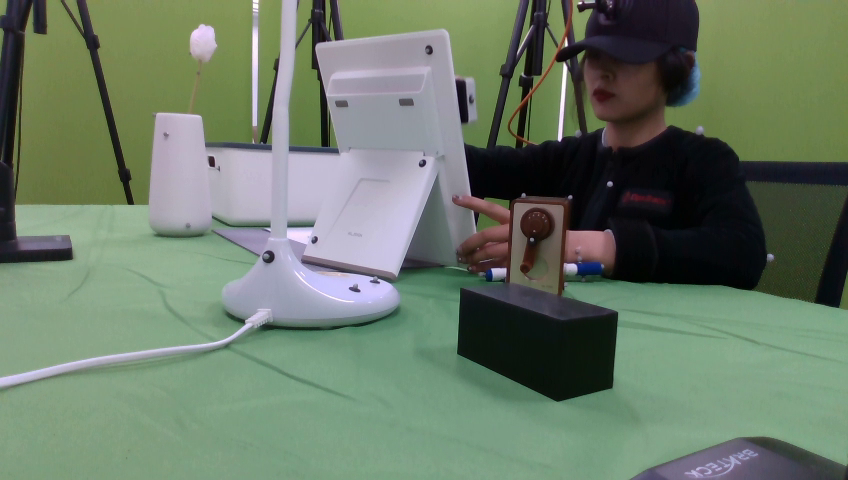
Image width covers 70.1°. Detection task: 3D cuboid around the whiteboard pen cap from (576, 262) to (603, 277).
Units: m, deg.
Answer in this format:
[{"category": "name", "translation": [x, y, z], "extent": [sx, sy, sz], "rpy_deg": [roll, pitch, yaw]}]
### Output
[{"category": "whiteboard pen cap", "translation": [0.203, 0.036, 0.749], "extent": [0.033, 0.018, 0.018], "rpy_deg": [-3, 8, -7]}]

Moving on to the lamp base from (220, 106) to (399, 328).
[{"category": "lamp base", "translation": [-0.102, -0.023, 0.531], "extent": [0.160, 0.180, 0.179], "rpy_deg": [4, 10, 10]}]

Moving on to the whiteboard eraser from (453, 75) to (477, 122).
[{"category": "whiteboard eraser", "translation": [0.012, -0.174, 0.755], "extent": [0.112, 0.055, 0.042], "rpy_deg": [7, 21, 40]}]

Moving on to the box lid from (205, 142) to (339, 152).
[{"category": "box lid", "translation": [-0.270, -0.196, 1.311], "extent": [0.373, 0.015, 0.262], "rpy_deg": [-2, 9, -30]}]

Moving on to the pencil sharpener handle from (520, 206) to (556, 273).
[{"category": "pencil sharpener handle", "translation": [0.111, 0.000, 0.613], "extent": [0.036, 0.067, 0.031], "rpy_deg": [13, 10, 14]}]

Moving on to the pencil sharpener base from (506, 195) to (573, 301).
[{"category": "pencil sharpener base", "translation": [0.127, 0.007, 0.663], "extent": [0.061, 0.107, 0.077], "rpy_deg": [5, 8, 15]}]

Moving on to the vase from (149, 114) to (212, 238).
[{"category": "vase", "translation": [-0.405, -0.106, 1.005], "extent": [0.098, 0.200, 0.098], "rpy_deg": [2, 6, 0]}]

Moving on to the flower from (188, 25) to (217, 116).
[{"category": "flower", "translation": [-0.394, -0.189, 1.011], "extent": [0.044, 0.361, 0.038], "rpy_deg": [-1, -13, 27]}]

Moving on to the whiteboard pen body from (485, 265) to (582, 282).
[{"category": "whiteboard pen body", "translation": [0.144, 0.040, 0.737], "extent": [0.141, 0.017, 0.017], "rpy_deg": [-2, 8, -9]}]

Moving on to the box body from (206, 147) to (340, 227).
[{"category": "box body", "translation": [-0.276, -0.122, 1.320], "extent": [0.366, 0.160, 0.253], "rpy_deg": [-2, 9, -30]}]

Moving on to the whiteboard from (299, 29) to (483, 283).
[{"category": "whiteboard", "translation": [-0.074, -0.082, 0.742], "extent": [0.216, 0.305, 0.144], "rpy_deg": [9, 30, 38]}]
